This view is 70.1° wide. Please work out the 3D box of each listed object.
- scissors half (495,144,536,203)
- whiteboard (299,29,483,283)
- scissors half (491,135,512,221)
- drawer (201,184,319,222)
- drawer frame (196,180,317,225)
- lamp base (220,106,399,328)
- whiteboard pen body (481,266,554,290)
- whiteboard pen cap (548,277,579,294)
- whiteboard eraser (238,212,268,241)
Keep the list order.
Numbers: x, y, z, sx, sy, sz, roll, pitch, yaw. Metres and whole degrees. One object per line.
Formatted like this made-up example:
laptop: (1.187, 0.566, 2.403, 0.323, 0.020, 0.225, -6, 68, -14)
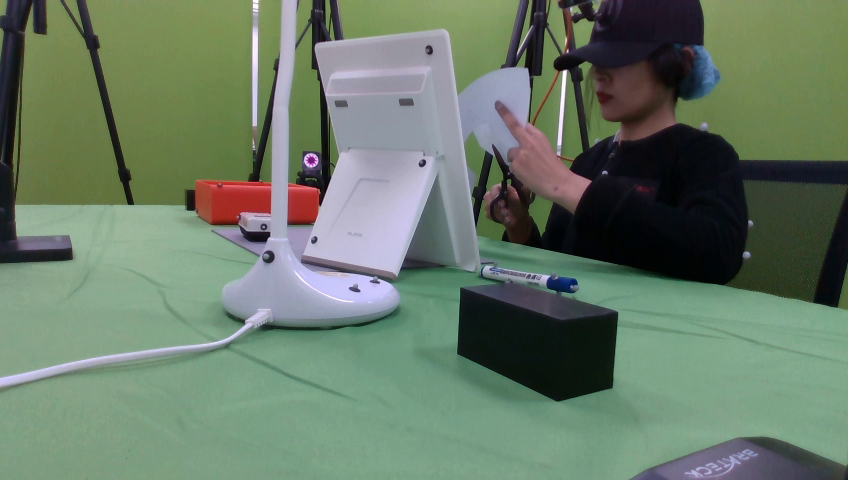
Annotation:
scissors half: (0.163, -0.121, 1.086, 0.012, 0.040, 0.176, 43, 1, 42)
whiteboard: (-0.074, -0.082, 0.742, 0.216, 0.305, 0.144, 9, 29, 38)
scissors half: (0.143, -0.107, 1.080, 0.040, 0.175, 0.013, -21, 41, -32)
drawer: (-0.353, -0.082, 1.295, 0.213, 0.073, 0.193, -2, 10, -28)
drawer frame: (-0.359, -0.083, 1.292, 0.215, 0.082, 0.200, -2, 10, -30)
lamp base: (-0.101, -0.023, 0.531, 0.160, 0.180, 0.179, 4, 10, 10)
whiteboard pen body: (0.115, 0.044, 0.695, 0.017, 0.017, 0.140, -3, 5, -35)
whiteboard pen cap: (0.148, 0.049, 0.647, 0.018, 0.018, 0.033, -3, 3, -35)
whiteboard eraser: (-0.272, -0.024, 0.998, 0.056, 0.042, 0.112, -2, 9, -24)
